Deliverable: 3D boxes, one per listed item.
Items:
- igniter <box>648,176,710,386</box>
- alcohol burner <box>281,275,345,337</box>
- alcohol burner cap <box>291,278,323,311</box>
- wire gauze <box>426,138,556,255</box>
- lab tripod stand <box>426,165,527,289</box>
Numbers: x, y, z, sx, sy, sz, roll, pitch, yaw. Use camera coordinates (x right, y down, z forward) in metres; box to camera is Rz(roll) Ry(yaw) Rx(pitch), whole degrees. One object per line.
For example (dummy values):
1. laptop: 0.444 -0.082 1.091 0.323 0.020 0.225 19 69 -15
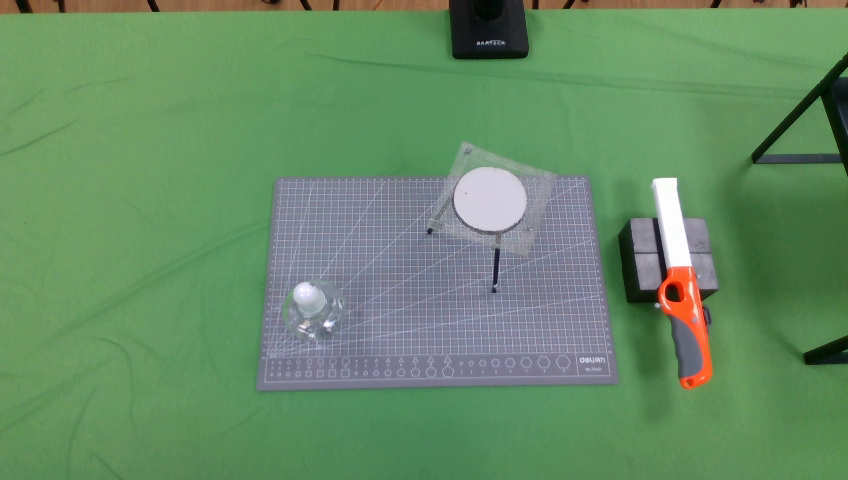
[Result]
1. igniter: 0.316 0.044 0.757 0.057 0.025 0.274 -1 67 3
2. alcohol burner: -0.135 0.075 0.728 0.078 0.120 0.077 1 69 -3
3. alcohol burner cap: -0.136 0.060 0.695 0.034 0.048 0.033 0 69 1
4. wire gauze: 0.080 -0.052 0.705 0.121 0.011 0.124 21 67 6
5. lab tripod stand: 0.076 -0.028 0.768 0.148 0.132 0.147 1 65 -1
